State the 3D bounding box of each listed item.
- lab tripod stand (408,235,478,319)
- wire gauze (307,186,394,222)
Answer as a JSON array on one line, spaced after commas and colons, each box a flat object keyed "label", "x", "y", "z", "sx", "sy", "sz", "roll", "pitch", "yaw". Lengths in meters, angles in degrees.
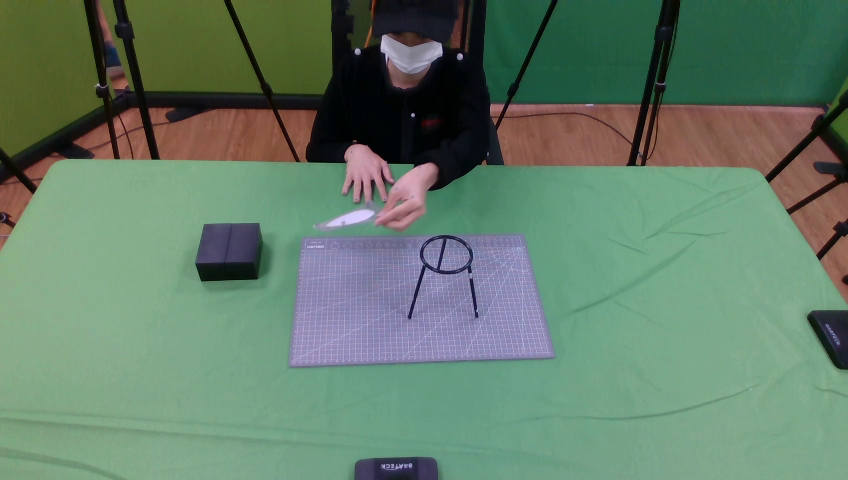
[{"label": "lab tripod stand", "x": 0.032, "y": 0.065, "z": 1.057, "sx": 0.148, "sy": 0.132, "sz": 0.147, "roll": 1, "pitch": 45, "yaw": -1}, {"label": "wire gauze", "x": -0.129, "y": -0.059, "z": 1.063, "sx": 0.121, "sy": 0.011, "sz": 0.124, "roll": -33, "pitch": 17, "yaw": -34}]
